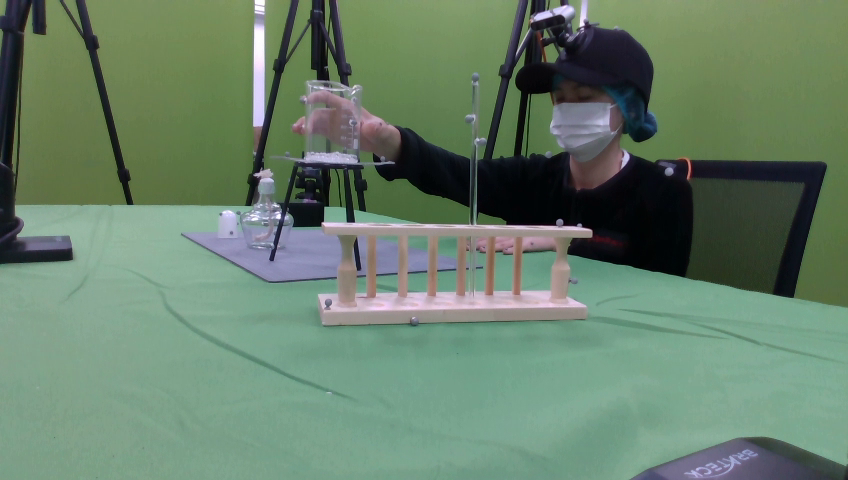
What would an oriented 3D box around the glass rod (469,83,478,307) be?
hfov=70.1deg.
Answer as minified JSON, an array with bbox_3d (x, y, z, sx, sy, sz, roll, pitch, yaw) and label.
[{"bbox_3d":[0.043,-0.033,0.523,0.008,0.199,0.008,-1,14,1],"label":"glass rod"}]

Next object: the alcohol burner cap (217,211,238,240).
[{"bbox_3d":[-0.323,-0.024,0.994,0.034,0.048,0.034,3,8,0],"label":"alcohol burner cap"}]

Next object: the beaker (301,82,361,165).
[{"bbox_3d":[-0.117,-0.147,0.776,0.074,0.100,0.083,-3,10,-38],"label":"beaker"}]

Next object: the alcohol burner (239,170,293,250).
[{"bbox_3d":[-0.237,-0.045,0.904,0.078,0.119,0.078,1,8,0],"label":"alcohol burner"}]

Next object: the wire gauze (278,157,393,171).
[{"bbox_3d":[-0.122,-0.100,0.786,0.122,0.011,0.124,-5,14,-38],"label":"wire gauze"}]

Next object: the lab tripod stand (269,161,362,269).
[{"bbox_3d":[-0.125,-0.036,0.794,0.148,0.131,0.148,5,7,0],"label":"lab tripod stand"}]

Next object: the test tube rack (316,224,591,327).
[{"bbox_3d":[0.026,0.028,0.555,0.243,0.085,0.066,1,7,-15],"label":"test tube rack"}]
